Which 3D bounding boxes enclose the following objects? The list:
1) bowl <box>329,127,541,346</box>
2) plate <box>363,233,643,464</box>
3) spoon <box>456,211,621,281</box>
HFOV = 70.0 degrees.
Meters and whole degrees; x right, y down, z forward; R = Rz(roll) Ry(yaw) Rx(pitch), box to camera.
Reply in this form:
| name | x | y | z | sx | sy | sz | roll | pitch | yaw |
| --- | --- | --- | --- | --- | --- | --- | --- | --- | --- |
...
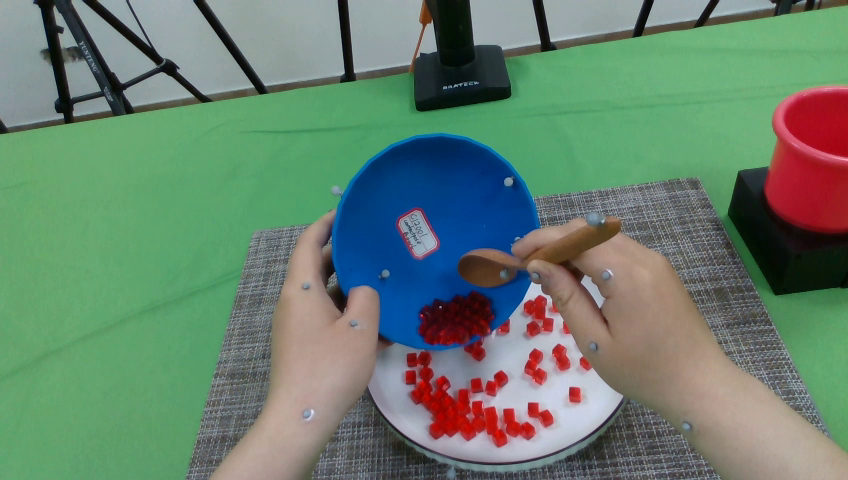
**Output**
| name | x | y | z | sx | sy | sz | roll | pitch | yaw |
| --- | --- | --- | --- | --- | --- | --- | --- | --- | --- |
| bowl | 0.001 | -0.004 | 0.448 | 0.151 | 0.152 | 0.076 | -24 | 12 | -12 |
| plate | 0.058 | 0.076 | 0.467 | 0.207 | 0.039 | 0.205 | -6 | 45 | 6 |
| spoon | 0.062 | 0.008 | 0.362 | 0.042 | 0.193 | 0.021 | 24 | 78 | -11 |
